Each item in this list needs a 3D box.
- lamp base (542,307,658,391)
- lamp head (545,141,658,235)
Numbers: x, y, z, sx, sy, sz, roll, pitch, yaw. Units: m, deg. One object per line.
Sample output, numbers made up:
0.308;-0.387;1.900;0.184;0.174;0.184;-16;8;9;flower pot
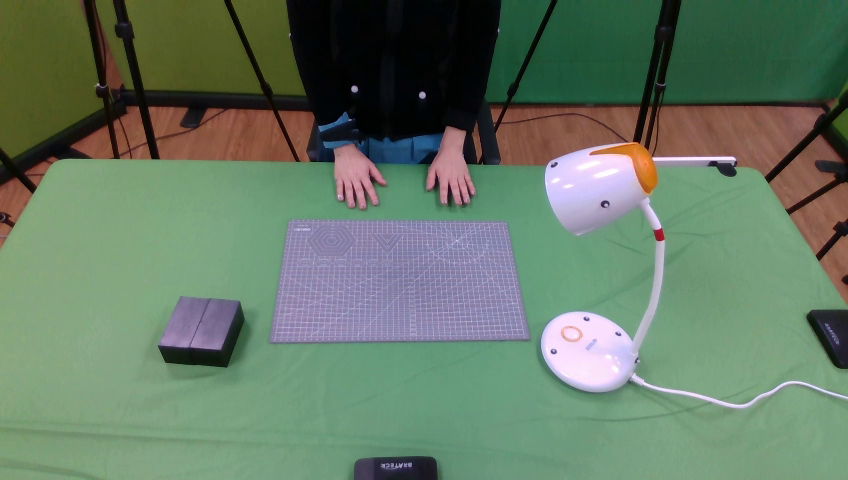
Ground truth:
0.296;0.138;0.975;0.178;0.181;0.160;28;51;18;lamp base
0.237;-0.072;0.783;0.123;0.113;0.112;-16;33;37;lamp head
